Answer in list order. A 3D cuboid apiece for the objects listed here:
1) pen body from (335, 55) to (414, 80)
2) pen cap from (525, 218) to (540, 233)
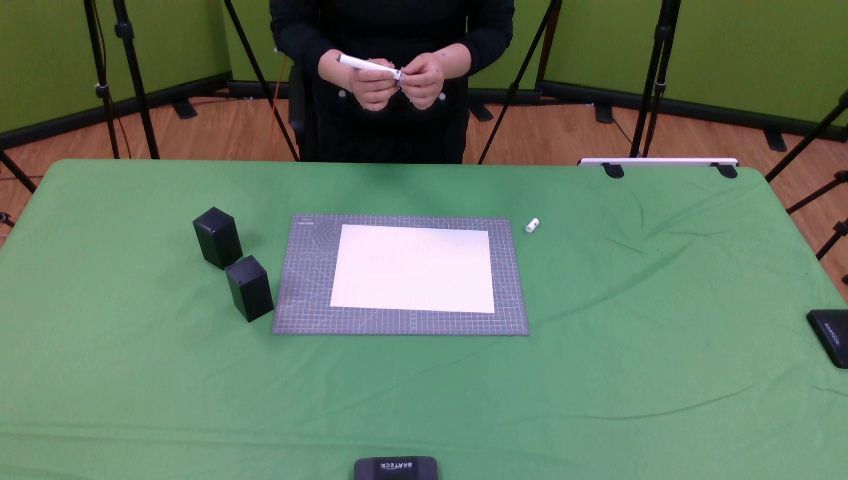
[{"bbox_3d":[-0.089,-0.311,1.099,0.144,0.017,0.017,12,45,-10],"label":"pen body"},{"bbox_3d":[0.224,-0.031,1.248,0.017,0.017,0.038,30,51,23],"label":"pen cap"}]
